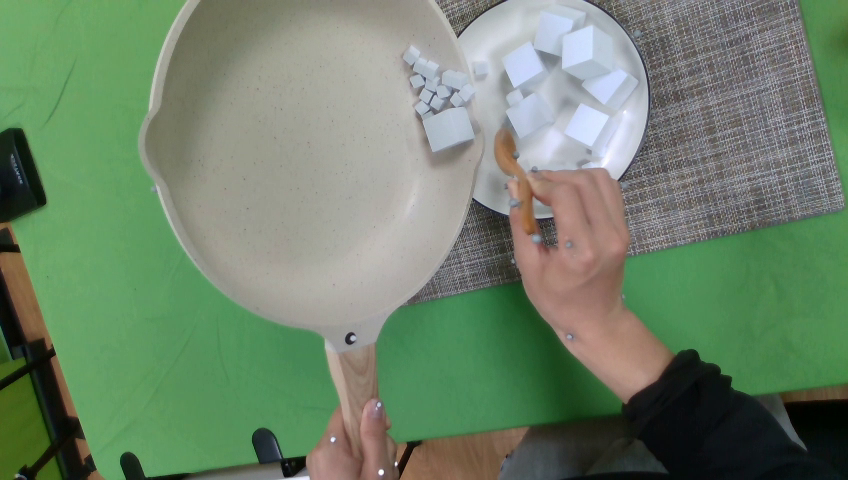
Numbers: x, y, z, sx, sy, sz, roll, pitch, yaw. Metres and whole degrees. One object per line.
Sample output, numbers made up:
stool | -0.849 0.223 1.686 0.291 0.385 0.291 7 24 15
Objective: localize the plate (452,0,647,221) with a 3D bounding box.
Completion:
plate | 0.105 -0.123 0.582 0.206 0.039 0.208 4 102 22

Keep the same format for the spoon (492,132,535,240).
spoon | 0.069 -0.045 0.460 0.021 0.192 0.042 -19 111 7

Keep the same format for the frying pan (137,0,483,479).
frying pan | -0.067 0.031 0.493 0.102 0.308 0.488 -1 95 49
